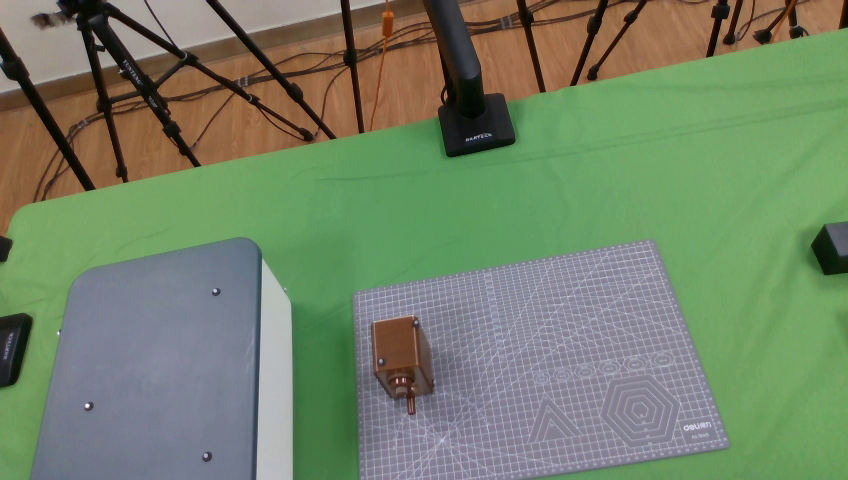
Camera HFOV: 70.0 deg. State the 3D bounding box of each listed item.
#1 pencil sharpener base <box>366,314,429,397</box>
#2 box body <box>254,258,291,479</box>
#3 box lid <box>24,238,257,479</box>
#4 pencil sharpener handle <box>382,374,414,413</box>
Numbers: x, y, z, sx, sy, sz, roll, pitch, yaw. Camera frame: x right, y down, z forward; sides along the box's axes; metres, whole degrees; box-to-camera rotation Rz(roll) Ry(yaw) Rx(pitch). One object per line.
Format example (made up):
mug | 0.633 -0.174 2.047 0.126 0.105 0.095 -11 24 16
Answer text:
pencil sharpener base | -0.033 0.154 0.782 0.061 0.108 0.076 -10 57 4
box body | -0.312 0.209 0.773 0.254 0.162 0.360 -12 57 3
box lid | -0.324 0.168 0.712 0.263 0.015 0.367 -12 57 3
pencil sharpener handle | -0.027 0.190 0.745 0.036 0.068 0.030 -15 57 11
